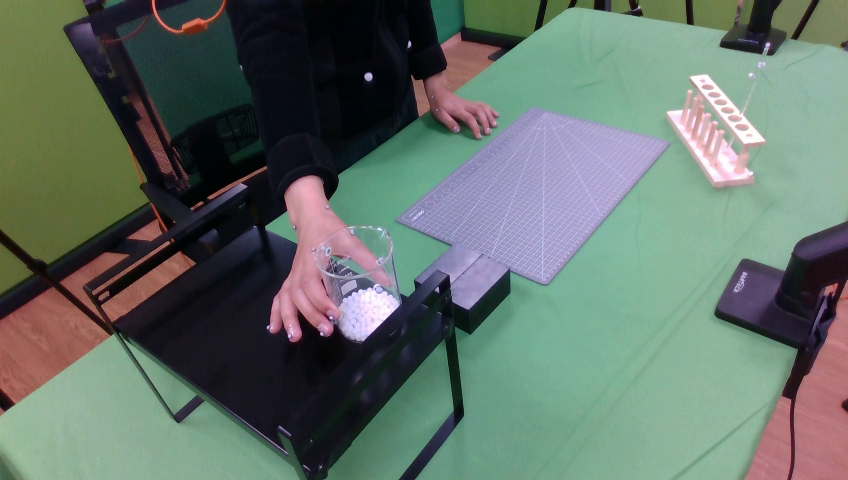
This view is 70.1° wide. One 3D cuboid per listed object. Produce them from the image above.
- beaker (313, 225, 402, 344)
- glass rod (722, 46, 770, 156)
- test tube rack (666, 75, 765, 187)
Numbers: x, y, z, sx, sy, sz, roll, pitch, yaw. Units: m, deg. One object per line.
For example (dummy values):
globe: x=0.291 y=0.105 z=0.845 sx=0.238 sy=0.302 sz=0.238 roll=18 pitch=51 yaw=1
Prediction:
beaker: x=-0.059 y=0.045 z=0.594 sx=0.073 sy=0.101 sz=0.084 roll=24 pitch=50 yaw=31
glass rod: x=0.533 y=-0.225 z=1.005 sx=0.008 sy=0.200 sz=0.008 roll=1 pitch=41 yaw=-1
test tube rack: x=0.512 y=-0.201 z=1.082 sx=0.067 sy=0.085 sz=0.241 roll=-6 pitch=41 yaw=2
